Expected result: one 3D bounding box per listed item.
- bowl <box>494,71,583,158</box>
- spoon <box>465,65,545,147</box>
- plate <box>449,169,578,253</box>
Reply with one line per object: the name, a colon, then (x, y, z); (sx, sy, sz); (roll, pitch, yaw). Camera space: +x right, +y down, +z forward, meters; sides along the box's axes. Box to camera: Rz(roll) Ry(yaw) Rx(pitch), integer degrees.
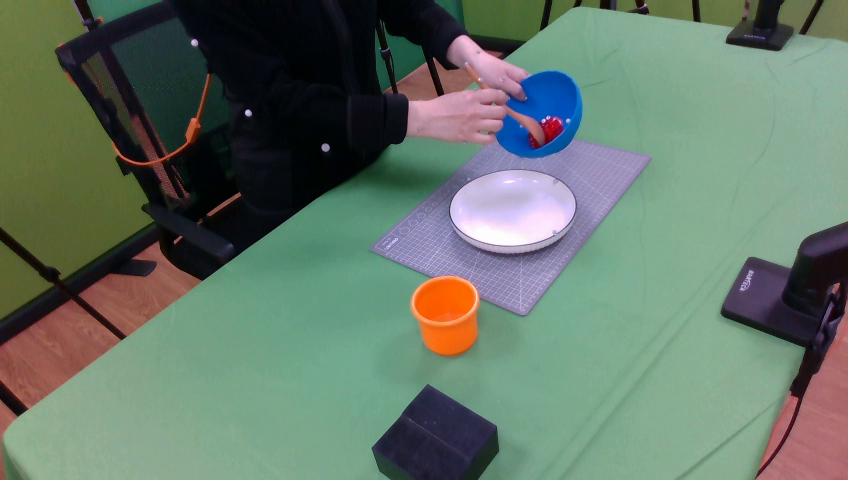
bowl: (0.200, -0.192, 0.992); (0.150, 0.077, 0.150); (-18, 58, 32)
spoon: (0.127, -0.203, 0.925); (0.021, 0.195, 0.041); (-32, 40, 37)
plate: (0.147, -0.044, 0.994); (0.209, 0.038, 0.208); (-5, 40, 5)
